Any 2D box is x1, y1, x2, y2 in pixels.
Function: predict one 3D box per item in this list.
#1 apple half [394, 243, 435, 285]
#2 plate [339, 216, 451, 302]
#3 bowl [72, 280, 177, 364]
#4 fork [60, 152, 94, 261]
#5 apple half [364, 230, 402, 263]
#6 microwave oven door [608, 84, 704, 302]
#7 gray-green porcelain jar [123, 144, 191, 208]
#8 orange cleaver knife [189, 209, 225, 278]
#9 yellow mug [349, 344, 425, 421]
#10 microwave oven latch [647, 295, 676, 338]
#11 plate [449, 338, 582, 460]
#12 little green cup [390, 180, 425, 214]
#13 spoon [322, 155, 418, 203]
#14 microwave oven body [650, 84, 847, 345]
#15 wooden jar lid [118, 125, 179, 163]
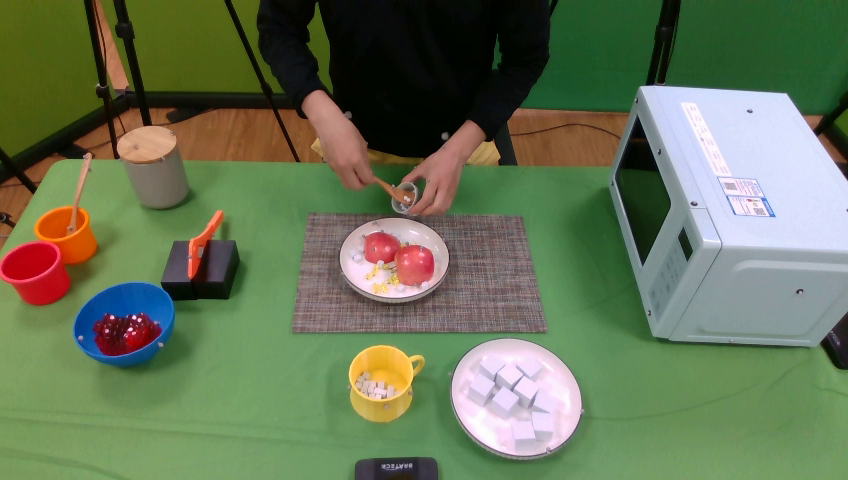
[{"bbox_3d":[-0.016,0.037,1.120,0.075,0.053,0.080,1,46,-6],"label":"apple half"},{"bbox_3d":[-0.054,0.038,1.137,0.209,0.038,0.208,2,46,-2],"label":"plate"},{"bbox_3d":[-0.472,0.147,0.982,0.151,0.077,0.150,2,46,-2],"label":"bowl"},{"bbox_3d":[-0.638,-0.063,1.119,0.028,0.018,0.207,12,90,8],"label":"fork"},{"bbox_3d":[-0.079,0.005,1.159,0.081,0.033,0.081,2,49,-3],"label":"apple half"},{"bbox_3d":[0.424,-0.096,1.138,0.039,0.245,0.353,2,46,-1],"label":"microwave oven door"},{"bbox_3d":[-0.530,-0.137,1.213,0.106,0.127,0.105,2,46,-2],"label":"gray-green porcelain jar"},{"bbox_3d":[-0.400,0.002,1.122,0.012,0.077,0.210,4,23,-4],"label":"orange cleaver knife"},{"bbox_3d":[-0.054,0.217,0.954,0.131,0.064,0.099,-24,53,-25],"label":"yellow mug"},{"bbox_3d":[0.413,0.133,1.060,0.030,0.029,0.078,4,46,1],"label":"microwave oven latch"},{"bbox_3d":[0.141,0.251,0.955,0.208,0.039,0.206,2,47,-2],"label":"plate"},{"bbox_3d":[-0.029,-0.078,1.144,0.061,0.039,0.061,-6,76,24],"label":"little green cup"},{"bbox_3d":[-0.096,-0.115,1.116,0.194,0.022,0.041,27,40,-17],"label":"spoon"},{"bbox_3d":[0.569,-0.054,1.116,0.326,0.261,0.439,2,46,-1],"label":"microwave oven body"},{"bbox_3d":[-0.528,-0.181,1.167,0.108,0.021,0.107,4,48,-4],"label":"wooden jar lid"}]
